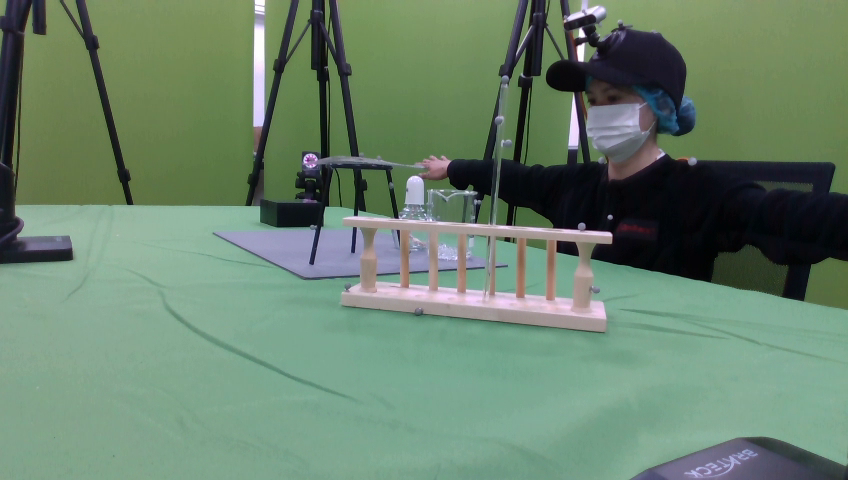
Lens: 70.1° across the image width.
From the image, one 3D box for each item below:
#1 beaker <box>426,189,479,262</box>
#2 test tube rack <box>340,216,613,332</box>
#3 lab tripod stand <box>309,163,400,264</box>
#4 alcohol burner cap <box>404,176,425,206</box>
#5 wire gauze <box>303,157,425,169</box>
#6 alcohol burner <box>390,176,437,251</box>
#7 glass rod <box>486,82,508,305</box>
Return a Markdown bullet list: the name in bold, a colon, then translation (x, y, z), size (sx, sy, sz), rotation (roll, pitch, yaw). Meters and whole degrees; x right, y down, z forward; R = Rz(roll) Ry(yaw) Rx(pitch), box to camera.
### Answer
- **beaker**: translation (0.039, -0.022, 0.871), size (0.074, 0.100, 0.084), rotation (4, 8, 12)
- **test tube rack**: translation (0.048, 0.026, 0.568), size (0.242, 0.085, 0.067), rotation (4, 7, 13)
- **lab tripod stand**: translation (-0.091, -0.037, 0.813), size (0.148, 0.131, 0.148), rotation (1, 6, 0)
- **alcohol burner cap**: translation (-0.015, -0.077, 0.951), size (0.034, 0.048, 0.034), rotation (3, 4, 0)
- **wire gauze**: translation (-0.082, -0.102, 0.799), size (0.126, 0.011, 0.121), rotation (-1, 7, -30)
- **alcohol burner**: translation (-0.016, -0.042, 0.955), size (0.078, 0.119, 0.078), rotation (4, 5, 0)
- **glass rod**: translation (0.064, -0.035, 0.528), size (0.008, 0.199, 0.008), rotation (2, 13, 0)
